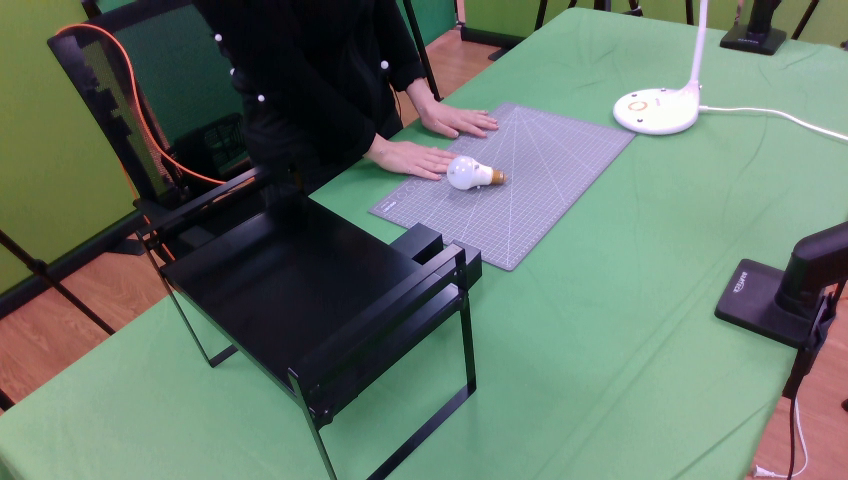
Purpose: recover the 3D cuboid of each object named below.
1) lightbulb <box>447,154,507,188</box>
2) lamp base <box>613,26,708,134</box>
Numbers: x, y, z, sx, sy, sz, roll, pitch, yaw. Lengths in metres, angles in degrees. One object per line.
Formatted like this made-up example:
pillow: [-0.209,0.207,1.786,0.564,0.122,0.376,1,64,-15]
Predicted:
lightbulb: [0.094,-0.118,1.074,0.108,0.059,0.059,8,40,-7]
lamp base: [0.463,-0.316,1.153,0.179,0.181,0.159,-5,41,-1]
